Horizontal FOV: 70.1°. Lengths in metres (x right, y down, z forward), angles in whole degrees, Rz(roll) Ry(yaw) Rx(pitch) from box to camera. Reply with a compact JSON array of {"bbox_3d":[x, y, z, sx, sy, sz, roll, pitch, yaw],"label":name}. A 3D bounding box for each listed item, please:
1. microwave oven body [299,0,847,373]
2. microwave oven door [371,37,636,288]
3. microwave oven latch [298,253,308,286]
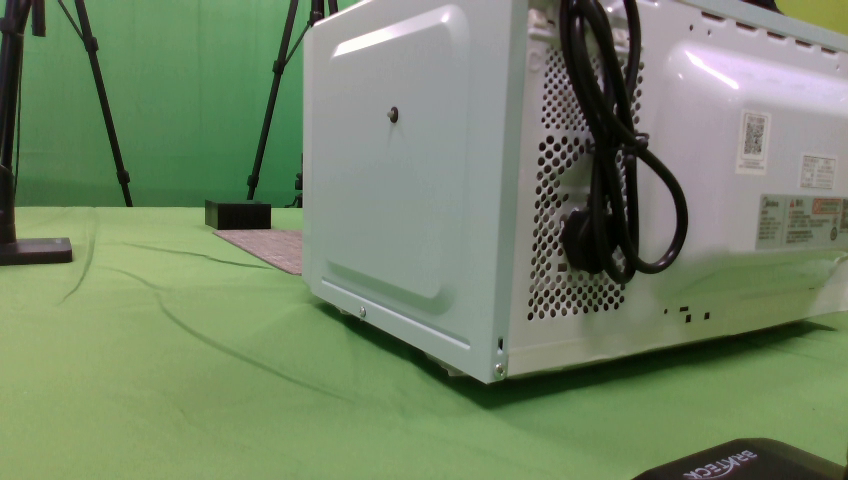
[{"bbox_3d":[0.151,-0.056,0.542,0.444,0.260,0.324,-2,7,-32],"label":"microwave oven body"},{"bbox_3d":[0.110,-0.080,0.686,0.358,0.243,0.039,-2,9,-33],"label":"microwave oven door"},{"bbox_3d":[-0.081,0.027,0.582,0.079,0.029,0.030,-1,7,-31],"label":"microwave oven latch"}]
